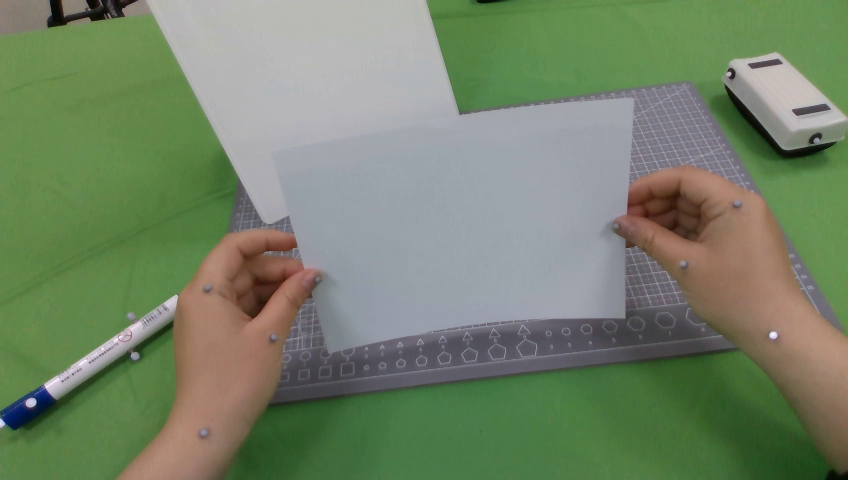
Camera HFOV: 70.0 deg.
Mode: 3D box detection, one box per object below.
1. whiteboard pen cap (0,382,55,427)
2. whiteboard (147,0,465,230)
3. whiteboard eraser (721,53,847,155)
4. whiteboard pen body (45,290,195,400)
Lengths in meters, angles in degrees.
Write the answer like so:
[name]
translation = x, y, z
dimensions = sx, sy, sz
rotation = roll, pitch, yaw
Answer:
[whiteboard pen cap]
translation = -0.277, 0.114, 0.427
dimensions = 0.033, 0.018, 0.018
rotation = -38, 55, -25
[whiteboard]
translation = -0.126, -0.206, 0.540
dimensions = 0.217, 0.308, 0.142
rotation = -31, 31, -17
[whiteboard eraser]
translation = 0.319, -0.122, 0.542
dimensions = 0.055, 0.042, 0.111
rotation = -13, 49, -1
[whiteboard pen body]
translation = -0.235, 0.083, 0.451
dimensions = 0.140, 0.017, 0.017
rotation = -38, 54, -25
